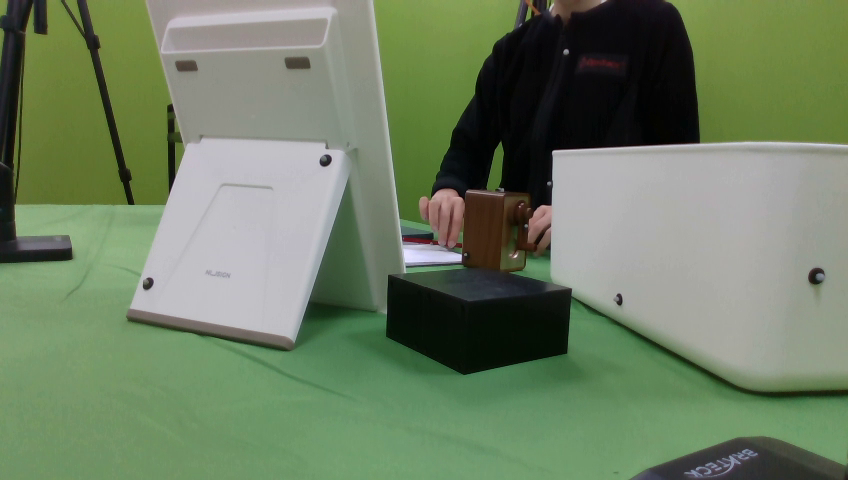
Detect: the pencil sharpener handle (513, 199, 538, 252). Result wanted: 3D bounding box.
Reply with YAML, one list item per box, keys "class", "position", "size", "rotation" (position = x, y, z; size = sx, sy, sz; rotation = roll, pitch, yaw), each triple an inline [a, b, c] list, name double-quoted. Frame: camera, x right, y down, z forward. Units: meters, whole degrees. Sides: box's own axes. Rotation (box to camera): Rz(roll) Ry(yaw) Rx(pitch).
- class: "pencil sharpener handle"
  position: [0.135, -0.018, 0.778]
  size: [0.036, 0.067, 0.030]
  rotation: [0, 7, -45]

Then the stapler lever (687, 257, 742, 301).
- class: "stapler lever"
  position: [0.283, 0.035, 0.585]
  size: [0.026, 0.040, 0.119]
  rotation: [11, 8, 37]

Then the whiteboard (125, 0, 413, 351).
- class: "whiteboard"
  position: [-0.151, -0.050, 0.471]
  size: [0.216, 0.305, 0.144]
  rotation: [6, 27, 24]

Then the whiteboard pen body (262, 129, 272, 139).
- class: "whiteboard pen body"
  position: [-0.361, -0.245, 1.393]
  size: [0.017, 0.017, 0.140]
  rotation: [0, 5, -20]

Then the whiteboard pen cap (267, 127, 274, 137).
- class: "whiteboard pen cap"
  position: [-0.340, -0.239, 1.337]
  size: [0.018, 0.018, 0.033]
  rotation: [1, -1, -15]

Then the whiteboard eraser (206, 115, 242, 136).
- class: "whiteboard eraser"
  position: [-0.438, -0.249, 1.320]
  size: [0.056, 0.042, 0.112]
  rotation: [-3, 9, -30]

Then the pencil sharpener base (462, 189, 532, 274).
- class: "pencil sharpener base"
  position: [0.100, -0.012, 0.816]
  size: [0.062, 0.107, 0.076]
  rotation: [-4, 10, -44]

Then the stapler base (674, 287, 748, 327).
- class: "stapler base"
  position: [0.281, 0.061, 0.586]
  size: [0.041, 0.024, 0.131]
  rotation: [11, 8, 37]

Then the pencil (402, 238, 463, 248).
- class: "pencil"
  position: [0.023, 0.005, 0.945]
  size: [0.193, 0.012, 0.012]
  rotation: [5, 8, 21]

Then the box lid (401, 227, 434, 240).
- class: "box lid"
  position: [-0.196, -0.015, 1.105]
  size: [0.373, 0.015, 0.262]
  rotation: [-1, 7, -32]

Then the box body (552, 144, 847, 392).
- class: "box body"
  position: [0.290, 0.002, 0.549]
  size: [0.255, 0.160, 0.363]
  rotation: [2, 7, -10]
